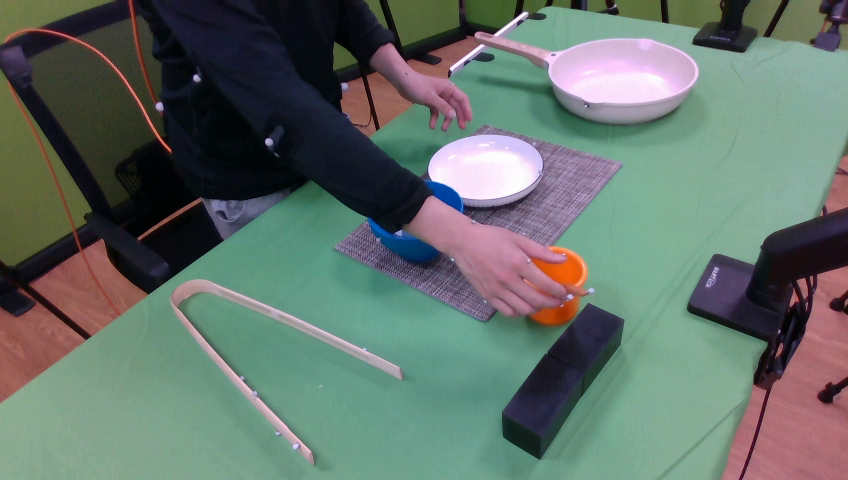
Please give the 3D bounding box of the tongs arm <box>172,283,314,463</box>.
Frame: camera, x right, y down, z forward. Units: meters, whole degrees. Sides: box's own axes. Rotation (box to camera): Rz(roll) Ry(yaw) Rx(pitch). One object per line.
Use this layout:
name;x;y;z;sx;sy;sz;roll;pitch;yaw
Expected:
tongs arm;-0.246;0.161;0.806;0.381;0.026;0.051;29;51;36

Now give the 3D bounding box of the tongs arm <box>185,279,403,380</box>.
tongs arm;-0.194;0.120;0.853;0.385;0.028;0.028;18;48;26

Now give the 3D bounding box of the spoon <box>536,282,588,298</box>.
spoon;0.177;0.063;0.774;0.041;0.194;0.021;-3;85;0

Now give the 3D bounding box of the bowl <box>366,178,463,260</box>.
bowl;-0.011;-0.022;0.945;0.151;0.077;0.150;-4;41;4

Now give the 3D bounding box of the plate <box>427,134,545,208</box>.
plate;0.109;-0.119;1.073;0.207;0.039;0.206;-4;40;4

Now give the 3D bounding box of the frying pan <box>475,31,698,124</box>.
frying pan;0.320;-0.371;1.290;0.485;0.103;0.307;28;50;23
